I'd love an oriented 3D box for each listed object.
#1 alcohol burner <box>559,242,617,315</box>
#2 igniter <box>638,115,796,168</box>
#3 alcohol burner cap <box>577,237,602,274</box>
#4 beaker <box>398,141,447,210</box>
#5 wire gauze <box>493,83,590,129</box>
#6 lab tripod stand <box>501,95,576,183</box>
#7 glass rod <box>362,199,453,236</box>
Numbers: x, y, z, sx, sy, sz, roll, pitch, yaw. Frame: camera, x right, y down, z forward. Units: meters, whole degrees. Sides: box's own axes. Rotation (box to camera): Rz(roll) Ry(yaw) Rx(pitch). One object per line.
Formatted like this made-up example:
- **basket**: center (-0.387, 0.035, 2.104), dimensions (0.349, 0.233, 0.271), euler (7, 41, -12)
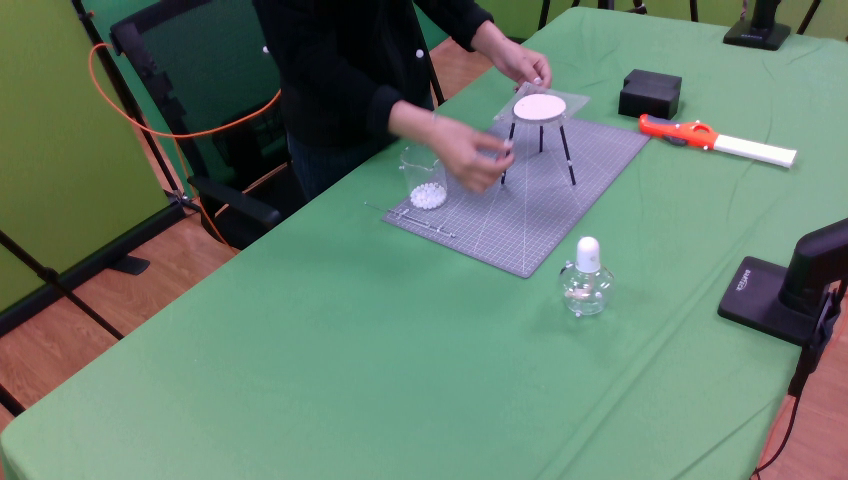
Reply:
- **alcohol burner**: center (0.222, 0.045, 0.816), dimensions (0.078, 0.119, 0.077), euler (-4, 42, 4)
- **igniter**: center (0.517, -0.181, 1.093), dimensions (0.274, 0.025, 0.057), euler (23, 65, 32)
- **alcohol burner cap**: center (0.217, 0.018, 0.792), dimensions (0.034, 0.048, 0.033), euler (-7, 35, 6)
- **beaker**: center (0.002, -0.107, 1.043), dimensions (0.074, 0.101, 0.083), euler (-19, 42, -11)
- **wire gauze**: center (0.198, -0.224, 1.013), dimensions (0.120, 0.011, 0.125), euler (20, 48, 28)
- **lab tripod stand**: center (0.204, -0.174, 1.057), dimensions (0.148, 0.132, 0.147), euler (-4, 40, 4)
- **glass rod**: center (-0.031, -0.041, 1.041), dimensions (0.198, 0.008, 0.008), euler (22, 50, 31)
